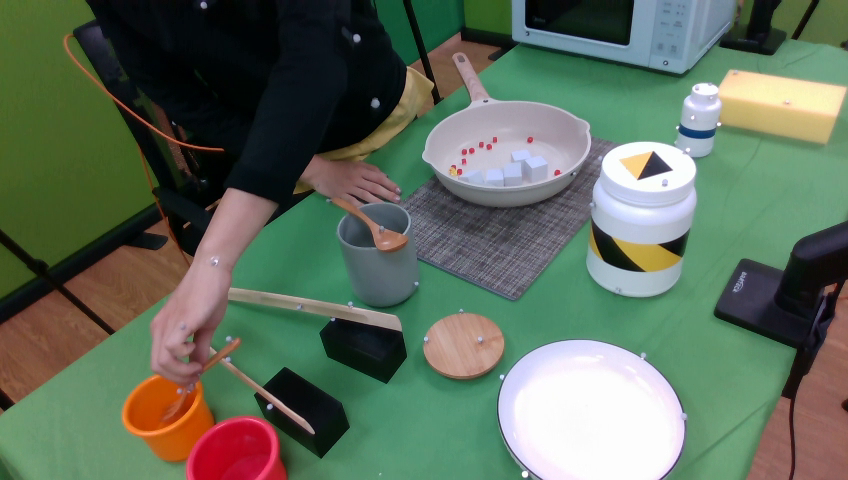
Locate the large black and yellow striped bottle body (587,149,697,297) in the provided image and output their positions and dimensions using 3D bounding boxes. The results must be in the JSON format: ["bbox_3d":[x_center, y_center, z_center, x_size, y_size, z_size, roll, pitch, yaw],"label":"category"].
[{"bbox_3d":[0.298,-0.026,0.835,0.131,0.185,0.130,-4,41,4],"label":"large black and yellow striped bottle body"}]

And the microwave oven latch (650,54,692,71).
[{"bbox_3d":[0.531,-0.386,1.301,0.078,0.029,0.030,25,51,33],"label":"microwave oven latch"}]

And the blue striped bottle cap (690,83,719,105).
[{"bbox_3d":[0.481,-0.251,1.038,0.044,0.021,0.044,-5,39,5],"label":"blue striped bottle cap"}]

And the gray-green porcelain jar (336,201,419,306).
[{"bbox_3d":[-0.064,0.024,0.872,0.106,0.127,0.105,-4,41,4],"label":"gray-green porcelain jar"}]

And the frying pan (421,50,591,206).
[{"bbox_3d":[0.127,-0.233,1.155,0.307,0.103,0.484,-11,49,-5],"label":"frying pan"}]

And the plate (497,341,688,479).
[{"bbox_3d":[0.188,0.207,0.692,0.207,0.039,0.206,-4,40,4],"label":"plate"}]

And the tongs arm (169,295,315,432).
[{"bbox_3d":[-0.248,0.147,0.775,0.384,0.028,0.028,21,56,44],"label":"tongs arm"}]

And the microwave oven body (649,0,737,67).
[{"bbox_3d":[0.475,-0.602,1.411,0.438,0.261,0.327,23,50,32],"label":"microwave oven body"}]

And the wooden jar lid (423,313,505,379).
[{"bbox_3d":[0.053,0.142,0.800,0.108,0.021,0.108,-4,39,4],"label":"wooden jar lid"}]

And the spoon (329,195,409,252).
[{"bbox_3d":[-0.082,-0.029,0.828,0.042,0.022,0.192,-31,43,-21],"label":"spoon"}]

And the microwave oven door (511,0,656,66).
[{"bbox_3d":[0.350,-0.539,1.348,0.353,0.245,0.039,24,50,31],"label":"microwave oven door"}]

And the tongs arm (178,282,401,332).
[{"bbox_3d":[-0.199,0.096,0.823,0.382,0.027,0.051,7,44,34],"label":"tongs arm"}]

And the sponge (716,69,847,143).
[{"bbox_3d":[0.663,-0.256,1.141,0.205,0.061,0.118,19,47,28],"label":"sponge"}]

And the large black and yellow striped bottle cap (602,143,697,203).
[{"bbox_3d":[0.289,-0.088,0.779,0.115,0.019,0.114,-5,40,4],"label":"large black and yellow striped bottle cap"}]

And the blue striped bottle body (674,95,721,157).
[{"bbox_3d":[0.486,-0.213,1.072,0.063,0.121,0.063,-4,41,4],"label":"blue striped bottle body"}]

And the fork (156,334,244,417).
[{"bbox_3d":[-0.259,0.157,0.691,0.019,0.206,0.028,34,37,-19],"label":"fork"}]
